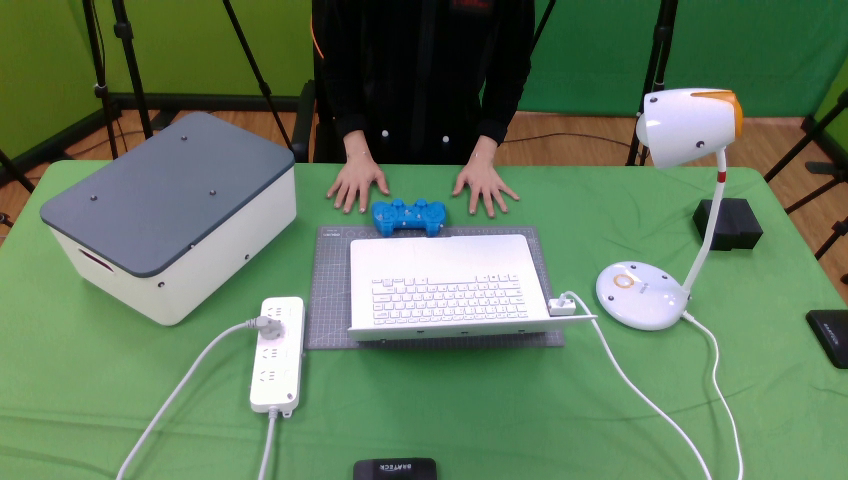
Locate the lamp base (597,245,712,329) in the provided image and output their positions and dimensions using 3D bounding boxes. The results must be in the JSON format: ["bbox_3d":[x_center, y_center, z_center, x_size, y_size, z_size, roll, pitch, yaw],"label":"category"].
[{"bbox_3d":[0.418,0.051,1.071,0.179,0.181,0.160,22,49,13],"label":"lamp base"}]

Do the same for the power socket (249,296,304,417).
[{"bbox_3d":[-0.239,0.182,0.996,0.072,0.033,0.225,-2,47,-5],"label":"power socket"}]

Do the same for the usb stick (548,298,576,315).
[{"bbox_3d":[0.240,0.119,1.086,0.059,0.027,0.021,-2,52,-2],"label":"usb stick"}]

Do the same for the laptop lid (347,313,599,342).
[{"bbox_3d":[0.062,0.137,0.932,0.357,0.242,0.013,-2,77,-8],"label":"laptop lid"}]

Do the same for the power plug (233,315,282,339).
[{"bbox_3d":[-0.271,0.144,1.000,0.072,0.053,0.035,5,47,3],"label":"power plug"}]

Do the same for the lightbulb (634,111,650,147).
[{"bbox_3d":[0.348,-0.163,0.852,0.059,0.060,0.107,-36,19,-32],"label":"lightbulb"}]

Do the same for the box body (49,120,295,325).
[{"bbox_3d":[-0.437,-0.046,1.110,0.253,0.161,0.363,24,49,18],"label":"box body"}]

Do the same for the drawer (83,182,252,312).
[{"bbox_3d":[-0.458,0.007,1.099,0.194,0.073,0.211,30,49,20],"label":"drawer"}]

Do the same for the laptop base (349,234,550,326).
[{"bbox_3d":[0.040,0.081,1.125,0.355,0.023,0.234,-2,43,-6],"label":"laptop base"}]

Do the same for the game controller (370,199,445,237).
[{"bbox_3d":[-0.032,-0.054,1.229,0.155,0.052,0.096,0,48,-4],"label":"game controller"}]

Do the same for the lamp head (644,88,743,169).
[{"bbox_3d":[0.380,-0.161,0.851,0.122,0.113,0.112,-4,42,25],"label":"lamp head"}]

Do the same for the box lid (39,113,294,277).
[{"bbox_3d":[-0.435,-0.096,1.056,0.262,0.015,0.370,25,48,18],"label":"box lid"}]

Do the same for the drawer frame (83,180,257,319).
[{"bbox_3d":[-0.454,0.010,1.099,0.201,0.083,0.213,27,54,23],"label":"drawer frame"}]
